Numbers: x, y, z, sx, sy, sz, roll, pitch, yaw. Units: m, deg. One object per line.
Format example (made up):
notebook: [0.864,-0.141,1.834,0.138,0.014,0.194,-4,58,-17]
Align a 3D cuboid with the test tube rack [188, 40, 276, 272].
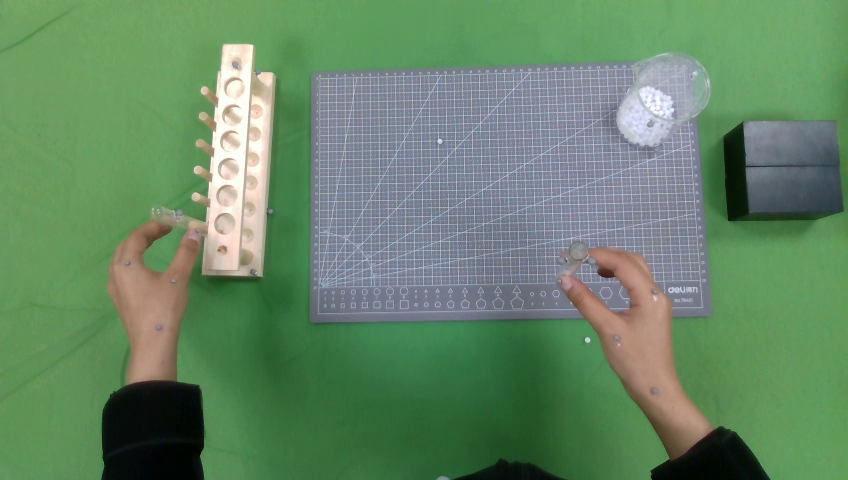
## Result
test tube rack: [-0.217,-0.089,0.673,0.067,0.085,0.241,2,83,3]

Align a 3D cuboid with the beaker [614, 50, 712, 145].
beaker: [0.250,-0.150,0.657,0.084,0.100,0.074,36,85,8]

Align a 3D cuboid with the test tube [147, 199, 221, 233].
test tube: [-0.242,-0.022,0.621,0.017,0.151,0.017,0,83,2]

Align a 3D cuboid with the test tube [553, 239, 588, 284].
test tube: [0.125,0.021,0.528,0.017,0.151,0.017,-1,78,7]
